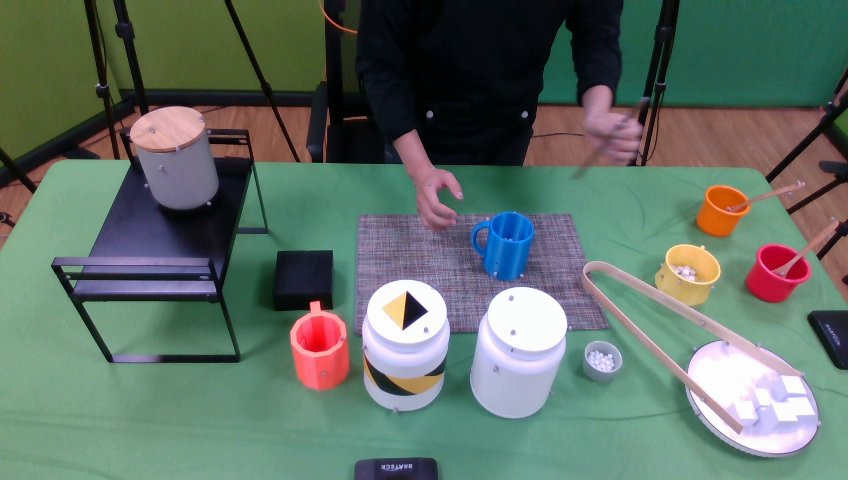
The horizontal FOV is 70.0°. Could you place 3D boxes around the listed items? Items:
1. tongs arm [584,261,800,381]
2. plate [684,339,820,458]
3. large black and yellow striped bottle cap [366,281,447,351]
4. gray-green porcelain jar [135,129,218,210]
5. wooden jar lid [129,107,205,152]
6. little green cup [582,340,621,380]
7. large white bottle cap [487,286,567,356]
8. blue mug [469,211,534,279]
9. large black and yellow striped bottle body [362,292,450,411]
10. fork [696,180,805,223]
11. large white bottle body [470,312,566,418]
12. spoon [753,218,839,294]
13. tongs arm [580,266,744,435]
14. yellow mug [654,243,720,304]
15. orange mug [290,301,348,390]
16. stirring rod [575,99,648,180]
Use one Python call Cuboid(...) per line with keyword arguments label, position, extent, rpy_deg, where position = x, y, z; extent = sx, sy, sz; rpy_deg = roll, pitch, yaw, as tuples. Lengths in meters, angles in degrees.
Cuboid(label="tongs arm", position=(0.452, 0.137, 1.064), extent=(0.051, 0.027, 0.382), rpy_deg=(-34, 50, -27))
Cuboid(label="plate", position=(0.523, 0.256, 0.982), extent=(0.208, 0.039, 0.206), rpy_deg=(2, 46, -2))
Cuboid(label="large black and yellow striped bottle cap", position=(-0.025, 0.106, 0.865), extent=(0.115, 0.019, 0.114), rpy_deg=(2, 46, -1))
Cuboid(label="gray-green porcelain jar", position=(-0.388, -0.120, 0.960), extent=(0.106, 0.127, 0.105), rpy_deg=(2, 46, -2))
Cuboid(label="wooden jar lid", position=(-0.385, -0.163, 0.915), extent=(0.108, 0.021, 0.107), rpy_deg=(2, 47, -2))
Cuboid(label="little green cup", position=(0.294, 0.203, 1.014), extent=(0.061, 0.039, 0.061), rpy_deg=(3, 46, -3))
Cuboid(label="large white bottle cap", position=(0.147, 0.114, 0.869), extent=(0.115, 0.018, 0.114), rpy_deg=(3, 46, -3))
Cuboid(label="blue mug", position=(0.141, 0.005, 1.140), extent=(0.116, 0.106, 0.082), rpy_deg=(18, 48, 13))
Cuboid(label="large black and yellow striped bottle body", position=(-0.029, 0.163, 0.928), extent=(0.131, 0.185, 0.130), rpy_deg=(2, 47, -2))
Cuboid(label="fork", position=(0.659, -0.078, 1.232), extent=(0.207, 0.019, 0.028), rpy_deg=(-26, 36, 33))
Cuboid(label="large white bottle body", position=(0.143, 0.173, 0.930), extent=(0.131, 0.185, 0.130), rpy_deg=(2, 46, -2))
Cuboid(label="spoon", position=(0.700, 0.031, 1.138), extent=(0.194, 0.022, 0.041), rpy_deg=(-47, 55, 14))
Cuboid(label="tongs arm", position=(0.384, 0.173, 1.028), extent=(0.028, 0.028, 0.385), rpy_deg=(-25, 46, -15))
Cuboid(label="yellow mug", position=(0.504, 0.054, 1.154), extent=(0.099, 0.064, 0.130), rpy_deg=(28, 50, 22))
Cuboid(label="orange mug", position=(-0.170, 0.162, 0.976), extent=(0.083, 0.101, 0.125), rpy_deg=(-7, 52, -11))
Cuboid(label="stirring rod", position=(0.311, -0.164, 1.014), extent=(0.014, 0.176, 0.006), rpy_deg=(-10, 56, -45))
